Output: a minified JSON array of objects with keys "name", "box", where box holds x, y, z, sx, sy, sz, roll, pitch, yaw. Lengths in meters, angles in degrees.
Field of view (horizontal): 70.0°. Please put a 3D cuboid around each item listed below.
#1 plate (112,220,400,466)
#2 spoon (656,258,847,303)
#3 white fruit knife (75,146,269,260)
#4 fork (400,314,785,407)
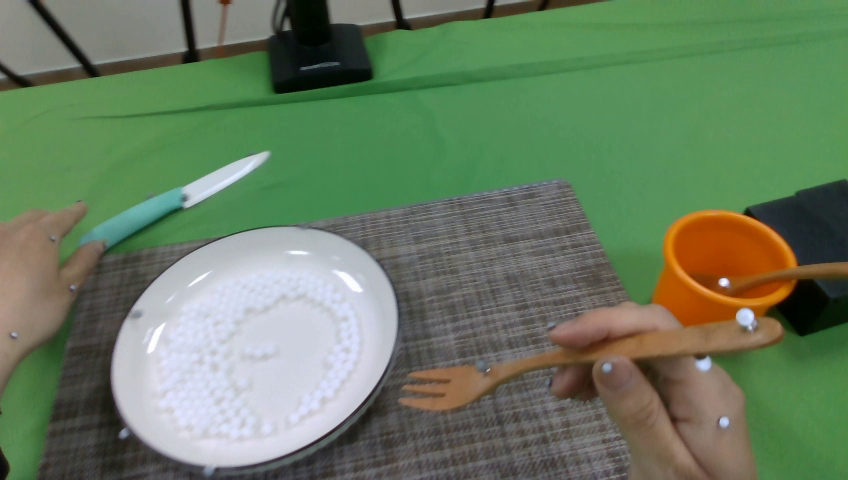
[{"name":"plate","box":[-0.120,0.071,0.458,0.209,0.038,0.207,-1,48,2]},{"name":"spoon","box":[0.248,0.025,0.418,0.041,0.193,0.022,-40,102,-31]},{"name":"white fruit knife","box":[-0.237,-0.044,0.585,0.207,0.016,0.027,-35,79,-30]},{"name":"fork","box":[0.059,0.059,0.289,0.019,0.207,0.028,40,50,-23]}]
